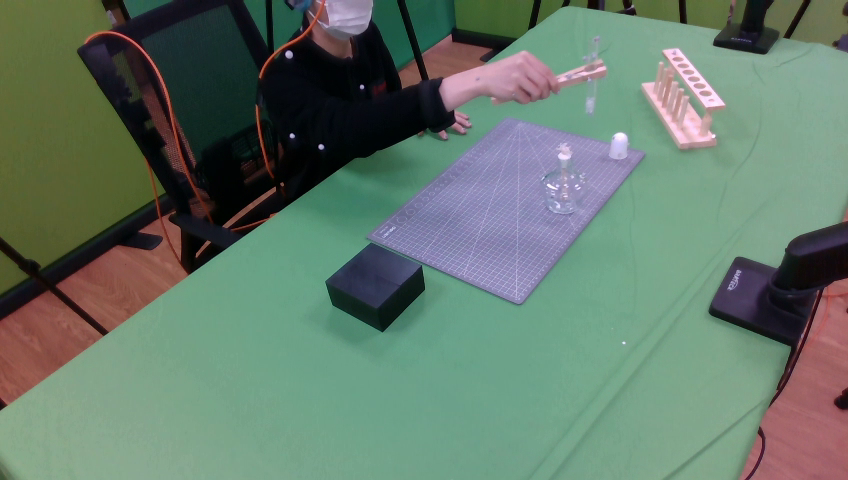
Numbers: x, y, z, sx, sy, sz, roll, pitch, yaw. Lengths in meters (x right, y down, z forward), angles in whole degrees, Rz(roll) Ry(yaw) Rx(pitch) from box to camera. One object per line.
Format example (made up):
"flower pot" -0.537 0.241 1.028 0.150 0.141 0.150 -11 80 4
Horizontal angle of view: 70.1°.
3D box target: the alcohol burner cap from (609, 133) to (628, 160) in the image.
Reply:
"alcohol burner cap" 0.356 -0.172 1.101 0.034 0.048 0.033 -5 41 5

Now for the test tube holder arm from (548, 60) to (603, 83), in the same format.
"test tube holder arm" 0.236 -0.258 0.941 0.088 0.015 0.010 -21 56 3

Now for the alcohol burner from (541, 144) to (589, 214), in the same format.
"alcohol burner" 0.229 -0.102 0.983 0.078 0.119 0.077 -6 41 5

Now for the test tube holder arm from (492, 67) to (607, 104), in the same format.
"test tube holder arm" 0.194 -0.241 0.942 0.178 0.015 0.013 -14 56 7

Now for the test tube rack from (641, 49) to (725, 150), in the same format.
"test tube rack" 0.495 -0.279 1.175 0.067 0.085 0.241 -5 41 3

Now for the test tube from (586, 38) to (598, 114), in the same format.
"test tube" 0.263 -0.253 0.949 0.017 0.151 0.017 -6 57 10
